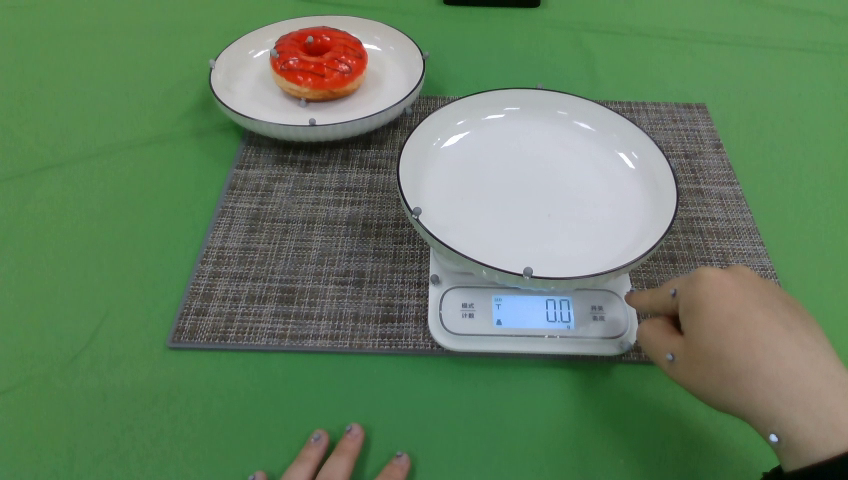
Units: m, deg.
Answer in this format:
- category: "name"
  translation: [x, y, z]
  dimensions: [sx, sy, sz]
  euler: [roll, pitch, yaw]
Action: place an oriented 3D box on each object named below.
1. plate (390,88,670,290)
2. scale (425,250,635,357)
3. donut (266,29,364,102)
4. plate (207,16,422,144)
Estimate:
- category: "plate"
  translation: [0.078, -0.041, 0.466]
  dimensions: [0.208, 0.039, 0.205]
  euler: [1, 49, -1]
- category: "scale"
  translation: [0.077, -0.002, 0.476]
  dimensions: [0.149, 0.032, 0.199]
  euler: [2, 49, 1]
- category: "donut"
  translation: [-0.108, -0.174, 0.606]
  dimensions: [0.099, 0.048, 0.098]
  euler: [1, 47, -1]
- category: "plate"
  translation: [-0.106, -0.158, 0.606]
  dimensions: [0.209, 0.038, 0.207]
  euler: [0, 47, 0]
